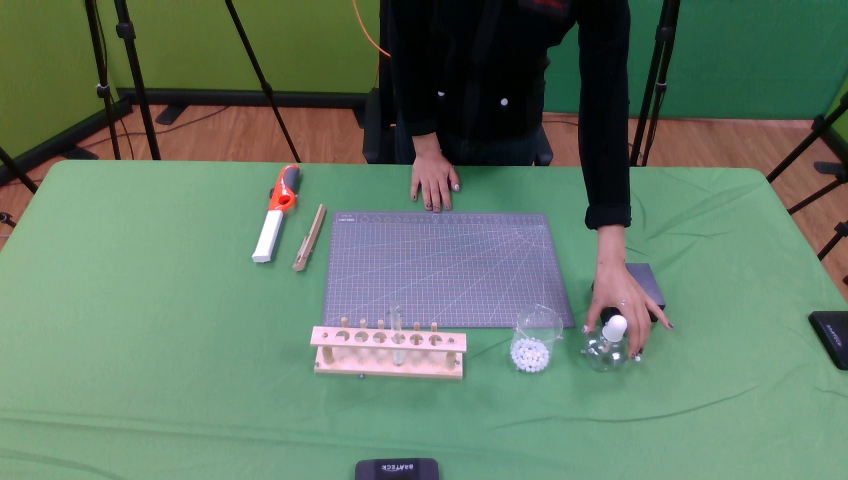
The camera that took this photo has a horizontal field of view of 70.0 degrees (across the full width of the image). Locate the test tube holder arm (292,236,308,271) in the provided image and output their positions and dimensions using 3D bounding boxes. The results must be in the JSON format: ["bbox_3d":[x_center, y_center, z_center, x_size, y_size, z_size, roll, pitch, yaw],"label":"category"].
[{"bbox_3d":[-0.234,0.024,1.163,0.010,0.015,0.087,-17,38,28],"label":"test tube holder arm"}]

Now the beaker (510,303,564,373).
[{"bbox_3d":[0.182,0.164,1.000,0.074,0.101,0.083,2,46,-1],"label":"beaker"}]

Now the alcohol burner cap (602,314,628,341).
[{"bbox_3d":[0.309,0.138,0.973,0.034,0.048,0.033,2,53,-2],"label":"alcohol burner cap"}]

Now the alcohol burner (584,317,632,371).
[{"bbox_3d":[0.307,0.163,0.999,0.078,0.120,0.077,1,48,-1],"label":"alcohol burner"}]

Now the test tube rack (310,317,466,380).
[{"bbox_3d":[-0.056,0.171,0.986,0.242,0.085,0.066,3,46,-1],"label":"test tube rack"}]

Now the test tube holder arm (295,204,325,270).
[{"bbox_3d":[-0.222,-0.008,1.192,0.013,0.015,0.177,-18,38,26],"label":"test tube holder arm"}]

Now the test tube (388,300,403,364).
[{"bbox_3d":[-0.044,0.146,0.942,0.017,0.151,0.017,-1,44,1],"label":"test tube"}]

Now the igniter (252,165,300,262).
[{"bbox_3d":[-0.298,-0.063,1.234,0.057,0.025,0.275,-2,45,8],"label":"igniter"}]
